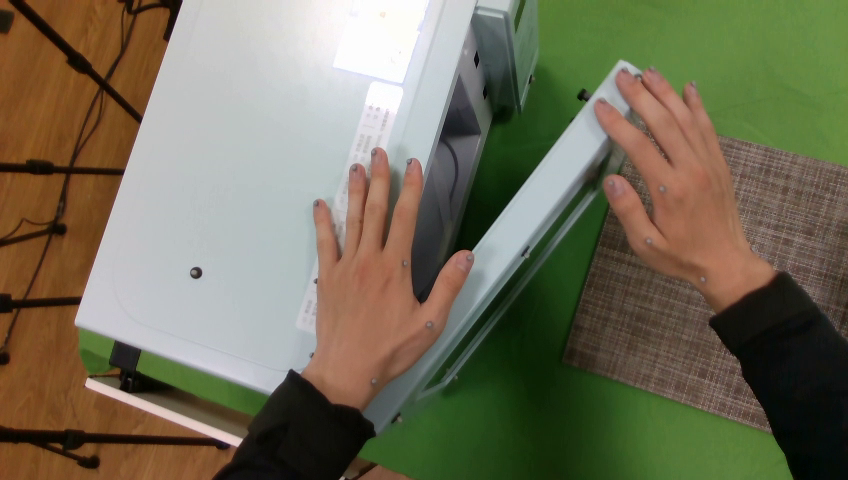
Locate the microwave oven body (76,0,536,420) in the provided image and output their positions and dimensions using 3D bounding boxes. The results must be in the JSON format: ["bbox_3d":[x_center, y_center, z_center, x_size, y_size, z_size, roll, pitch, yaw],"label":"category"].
[{"bbox_3d":[-0.099,-0.084,0.640,0.325,0.261,0.441,16,87,12],"label":"microwave oven body"}]

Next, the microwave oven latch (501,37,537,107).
[{"bbox_3d":[0.111,-0.200,0.712,0.030,0.029,0.079,17,87,13],"label":"microwave oven latch"}]

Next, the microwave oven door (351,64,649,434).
[{"bbox_3d":[0.079,0.022,0.586,0.039,0.245,0.356,38,91,14],"label":"microwave oven door"}]
